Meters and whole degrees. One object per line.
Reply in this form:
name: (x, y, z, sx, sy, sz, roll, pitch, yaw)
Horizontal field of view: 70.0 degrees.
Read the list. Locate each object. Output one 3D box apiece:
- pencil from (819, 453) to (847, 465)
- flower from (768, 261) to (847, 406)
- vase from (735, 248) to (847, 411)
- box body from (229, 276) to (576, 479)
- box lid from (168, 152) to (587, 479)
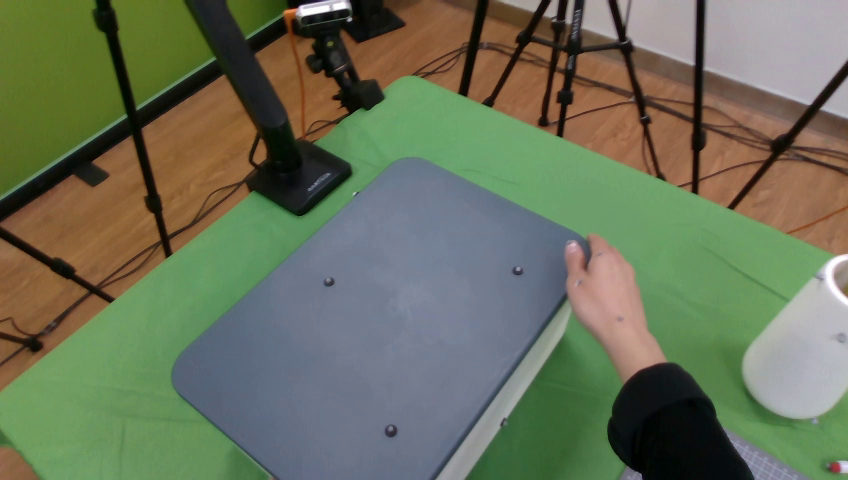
pencil: (0.507, 0.223, 0.624, 0.194, 0.012, 0.012, -2, 51, 0)
flower: (0.390, 0.030, 0.558, 0.044, 0.364, 0.038, 23, 39, 24)
vase: (0.393, 0.094, 0.613, 0.098, 0.202, 0.097, -2, 50, 3)
box body: (-0.029, 0.109, 0.650, 0.252, 0.162, 0.363, 29, 58, 24)
box lid: (-0.032, 0.061, 0.593, 0.261, 0.015, 0.370, 29, 58, 24)
